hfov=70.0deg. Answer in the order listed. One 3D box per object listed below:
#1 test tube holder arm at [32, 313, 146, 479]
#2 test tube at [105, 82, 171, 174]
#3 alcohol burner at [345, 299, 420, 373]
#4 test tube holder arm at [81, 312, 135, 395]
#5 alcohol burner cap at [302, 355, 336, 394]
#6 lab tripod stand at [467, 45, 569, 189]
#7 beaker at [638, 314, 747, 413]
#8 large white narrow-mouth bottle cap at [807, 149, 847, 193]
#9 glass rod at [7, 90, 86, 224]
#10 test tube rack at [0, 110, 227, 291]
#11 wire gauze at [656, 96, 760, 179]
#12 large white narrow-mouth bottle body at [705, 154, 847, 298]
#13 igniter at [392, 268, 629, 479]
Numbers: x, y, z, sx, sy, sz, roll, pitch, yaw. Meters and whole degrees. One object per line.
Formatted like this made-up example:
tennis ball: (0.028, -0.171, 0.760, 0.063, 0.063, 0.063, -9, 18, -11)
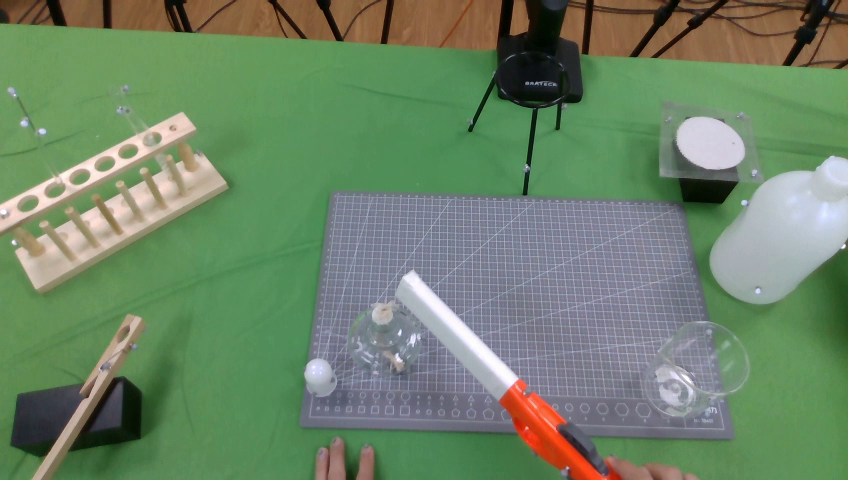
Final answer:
test tube holder arm: (-0.318, 0.151, 0.578, 0.013, 0.015, 0.177, 12, 60, 13)
test tube: (-0.322, -0.123, 0.696, 0.017, 0.151, 0.017, -1, 61, 3)
alcohol burner: (-0.042, 0.091, 0.616, 0.078, 0.120, 0.077, 2, 58, -3)
test tube holder arm: (-0.310, 0.112, 0.600, 0.010, 0.015, 0.087, 11, 60, 13)
alcohol burner cap: (-0.110, 0.138, 0.628, 0.034, 0.048, 0.033, 0, 60, 0)
lab tripod stand: (0.125, -0.160, 0.760, 0.148, 0.132, 0.147, 2, 61, -2)
beaker: (0.262, 0.129, 0.611, 0.084, 0.101, 0.073, 7, 59, 4)
large white narrow-mouth bottle cap: (0.387, -0.066, 0.576, 0.038, 0.024, 0.037, 1, 59, -1)
glass rod: (-0.398, -0.077, 0.647, 0.008, 0.201, 0.008, 3, 51, -3)
test tube rack: (-0.365, -0.048, 0.708, 0.242, 0.086, 0.066, -34, 66, -20)
wire gauze: (0.353, -0.129, 0.764, 0.121, 0.011, 0.124, 9, 59, 4)
large white narrow-mouth bottle body: (0.386, -0.020, 0.649, 0.102, 0.196, 0.101, 1, 59, -1)
igniter: (0.074, 0.127, 0.491, 0.275, 0.057, 0.025, 44, 52, 16)
